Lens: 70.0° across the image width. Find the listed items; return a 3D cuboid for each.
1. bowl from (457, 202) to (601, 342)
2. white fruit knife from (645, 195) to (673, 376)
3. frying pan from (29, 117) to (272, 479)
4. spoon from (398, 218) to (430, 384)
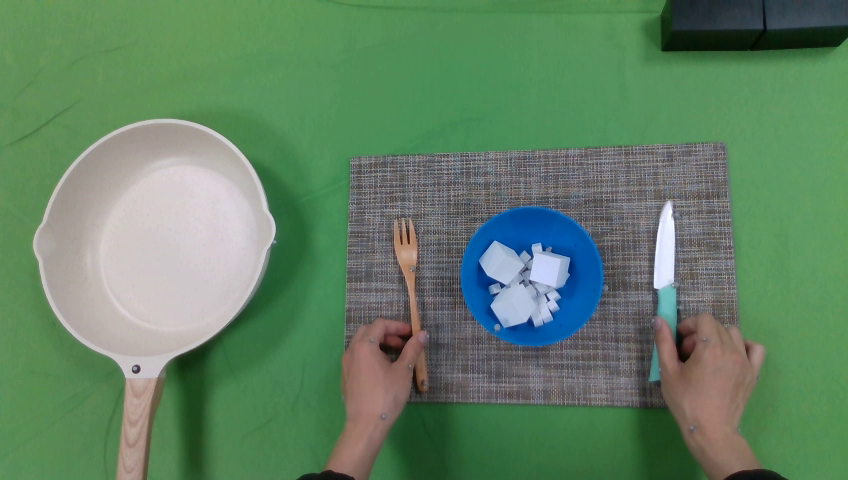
[{"bbox_3d":[0.114,0.039,0.673,0.151,0.077,0.151,-1,80,7],"label":"bowl"},{"bbox_3d":[0.267,0.049,0.682,0.027,0.016,0.206,5,82,6],"label":"white fruit knife"},{"bbox_3d":[-0.324,0.096,0.713,0.306,0.103,0.484,-2,72,8],"label":"frying pan"},{"bbox_3d":[-0.013,0.070,0.713,0.041,0.022,0.193,-4,77,22],"label":"spoon"}]
